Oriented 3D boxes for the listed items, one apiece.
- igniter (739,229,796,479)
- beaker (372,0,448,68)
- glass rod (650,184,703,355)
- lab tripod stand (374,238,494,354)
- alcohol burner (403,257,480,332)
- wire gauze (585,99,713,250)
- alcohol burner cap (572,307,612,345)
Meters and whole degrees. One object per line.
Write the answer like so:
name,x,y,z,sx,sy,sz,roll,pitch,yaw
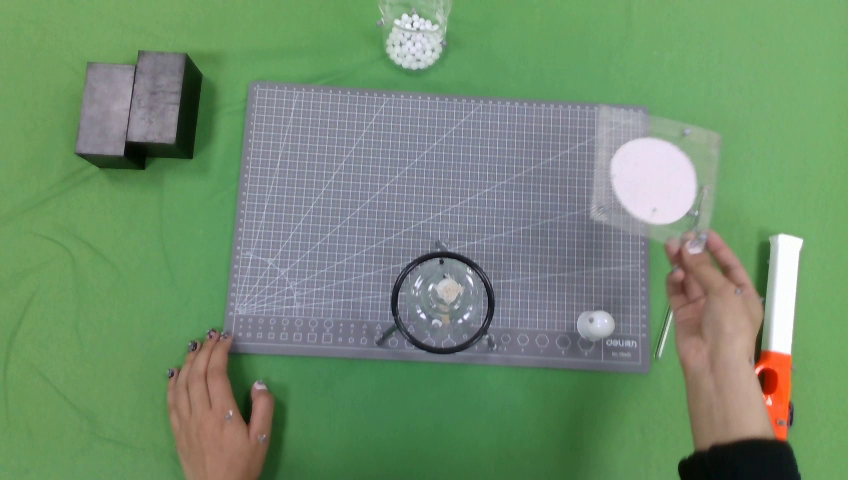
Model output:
igniter,0.365,0.125,0.641,0.057,0.025,0.275,12,81,-11
beaker,-0.013,-0.234,0.647,0.074,0.100,0.084,-41,85,-7
glass rod,0.276,0.030,0.663,0.008,0.008,0.199,20,81,1
lab tripod stand,0.011,0.058,0.582,0.148,0.132,0.148,0,79,0
alcohol burner,0.018,0.051,0.594,0.078,0.119,0.077,1,79,-2
wire gauze,0.211,-0.063,0.567,0.125,0.011,0.121,15,75,-9
alcohol burner cap,0.177,0.088,0.630,0.034,0.048,0.033,2,65,-5
